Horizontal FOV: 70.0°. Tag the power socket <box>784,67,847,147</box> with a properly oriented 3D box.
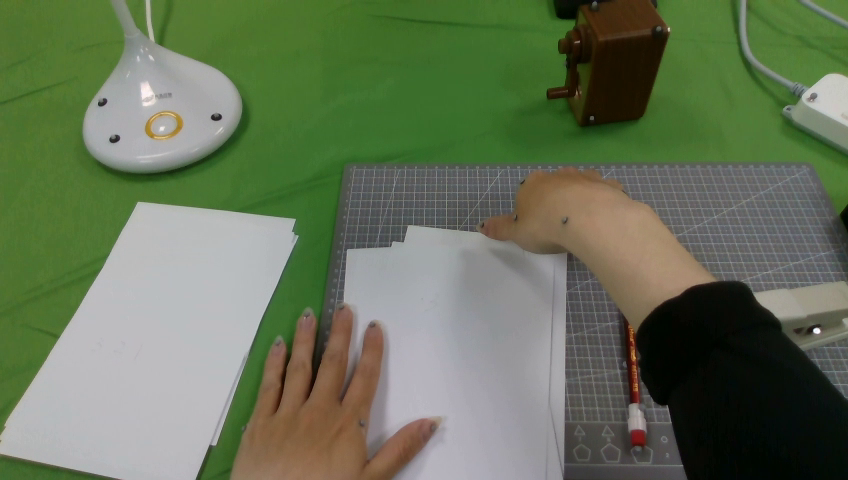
[{"bbox_3d":[0.461,-0.094,0.569,0.072,0.033,0.224,-35,59,-22],"label":"power socket"}]

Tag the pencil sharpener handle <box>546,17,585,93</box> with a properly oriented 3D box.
[{"bbox_3d":[0.132,-0.174,0.577,0.031,0.068,0.035,-9,31,-4],"label":"pencil sharpener handle"}]

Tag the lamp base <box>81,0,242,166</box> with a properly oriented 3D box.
[{"bbox_3d":[-0.278,-0.190,0.572,0.161,0.182,0.177,-26,54,-16],"label":"lamp base"}]

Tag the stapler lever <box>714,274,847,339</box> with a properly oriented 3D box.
[{"bbox_3d":[0.268,0.045,0.442,0.118,0.040,0.026,-13,54,-9],"label":"stapler lever"}]

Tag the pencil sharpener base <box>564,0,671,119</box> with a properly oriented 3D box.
[{"bbox_3d":[0.182,-0.179,0.595,0.077,0.108,0.060,-9,54,-4],"label":"pencil sharpener base"}]

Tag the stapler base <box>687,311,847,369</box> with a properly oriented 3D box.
[{"bbox_3d":[0.268,0.062,0.461,0.131,0.024,0.041,-13,54,-10],"label":"stapler base"}]

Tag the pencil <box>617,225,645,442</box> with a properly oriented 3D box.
[{"bbox_3d":[0.159,0.062,0.474,0.012,0.012,0.192,5,52,6],"label":"pencil"}]
